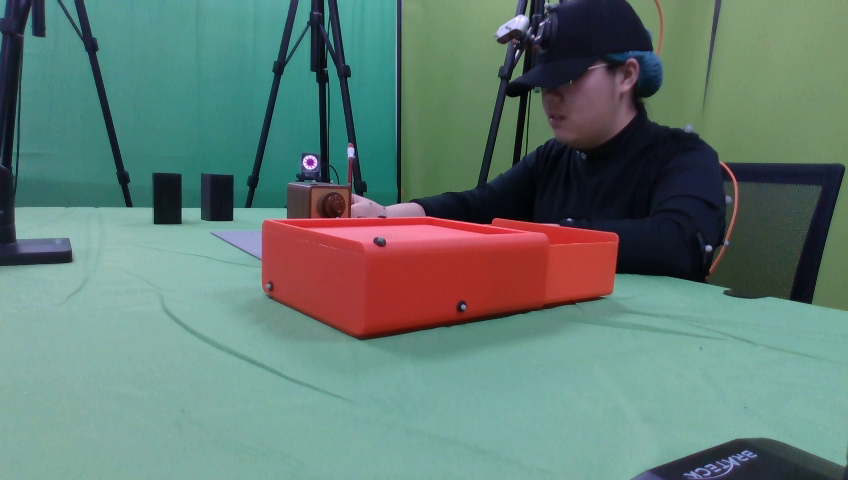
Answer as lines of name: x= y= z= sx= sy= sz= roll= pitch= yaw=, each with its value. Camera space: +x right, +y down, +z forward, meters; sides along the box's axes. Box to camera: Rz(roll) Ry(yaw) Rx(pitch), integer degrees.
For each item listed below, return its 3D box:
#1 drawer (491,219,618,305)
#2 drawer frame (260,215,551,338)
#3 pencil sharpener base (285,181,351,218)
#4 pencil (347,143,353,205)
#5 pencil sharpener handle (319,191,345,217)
drawer: x=0.071 y=0.021 z=0.669 sx=0.213 sy=0.073 sz=0.193 roll=-3 pitch=10 yaw=-39
drawer frame: x=-0.021 y=0.024 z=0.595 sx=0.215 sy=0.082 sz=0.200 roll=-4 pitch=10 yaw=-38
pencil sharpener base: x=-0.139 y=-0.020 z=0.789 sx=0.062 sy=0.107 sz=0.076 roll=-2 pitch=9 yaw=-36
pencil: x=-0.132 y=-0.086 z=1.062 sx=0.012 sy=0.193 sz=0.012 roll=-1 pitch=-24 yaw=0
pencil sharpener handle: x=-0.107 y=-0.026 z=0.747 sx=0.036 sy=0.067 sz=0.030 roll=-6 pitch=11 yaw=-36
